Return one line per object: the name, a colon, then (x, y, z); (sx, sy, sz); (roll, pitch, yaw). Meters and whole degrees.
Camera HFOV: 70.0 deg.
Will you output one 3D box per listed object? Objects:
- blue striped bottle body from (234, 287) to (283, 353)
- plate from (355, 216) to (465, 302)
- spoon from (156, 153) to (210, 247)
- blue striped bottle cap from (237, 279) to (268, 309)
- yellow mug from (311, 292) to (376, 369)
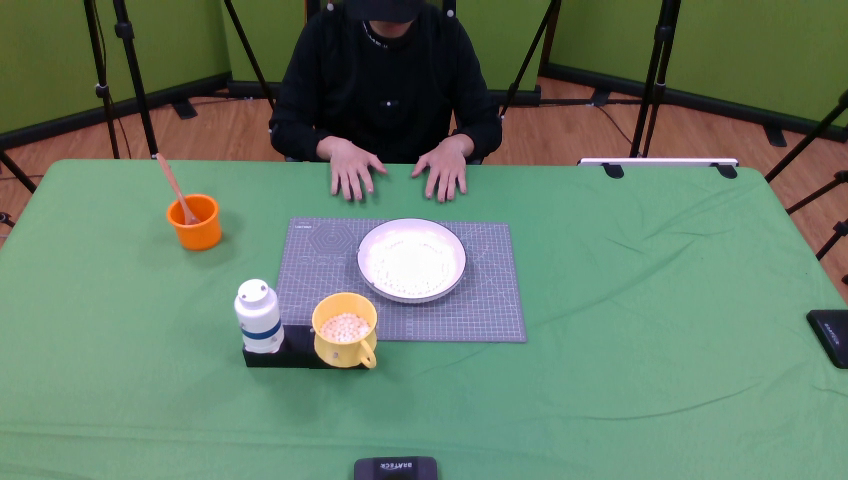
blue striped bottle body: (-0.254, 0.114, 0.929); (0.063, 0.121, 0.062); (2, 46, -2)
plate: (-0.027, 0.039, 1.144); (0.208, 0.039, 0.206); (2, 46, -2)
spoon: (-0.458, -0.076, 1.147); (0.041, 0.194, 0.021); (-26, 10, -24)
blue striped bottle cap: (-0.252, 0.079, 0.892); (0.044, 0.021, 0.044); (4, 47, -4)
yellow mug: (-0.115, 0.150, 0.945); (0.100, 0.064, 0.130); (-30, 57, -28)
